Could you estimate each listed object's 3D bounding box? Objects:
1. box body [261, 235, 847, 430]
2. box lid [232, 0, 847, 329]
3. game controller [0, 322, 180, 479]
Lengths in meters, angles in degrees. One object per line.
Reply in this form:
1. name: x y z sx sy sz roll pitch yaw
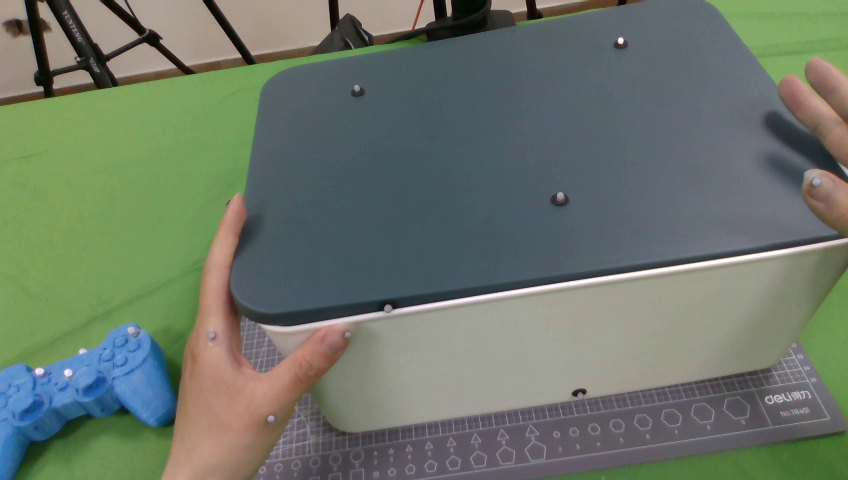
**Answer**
1. box body: 0.078 -0.015 0.469 0.364 0.162 0.251 -9 47 1
2. box lid: 0.058 -0.072 0.417 0.371 0.015 0.260 -9 48 1
3. game controller: -0.282 0.123 0.486 0.155 0.052 0.096 -19 45 -9
